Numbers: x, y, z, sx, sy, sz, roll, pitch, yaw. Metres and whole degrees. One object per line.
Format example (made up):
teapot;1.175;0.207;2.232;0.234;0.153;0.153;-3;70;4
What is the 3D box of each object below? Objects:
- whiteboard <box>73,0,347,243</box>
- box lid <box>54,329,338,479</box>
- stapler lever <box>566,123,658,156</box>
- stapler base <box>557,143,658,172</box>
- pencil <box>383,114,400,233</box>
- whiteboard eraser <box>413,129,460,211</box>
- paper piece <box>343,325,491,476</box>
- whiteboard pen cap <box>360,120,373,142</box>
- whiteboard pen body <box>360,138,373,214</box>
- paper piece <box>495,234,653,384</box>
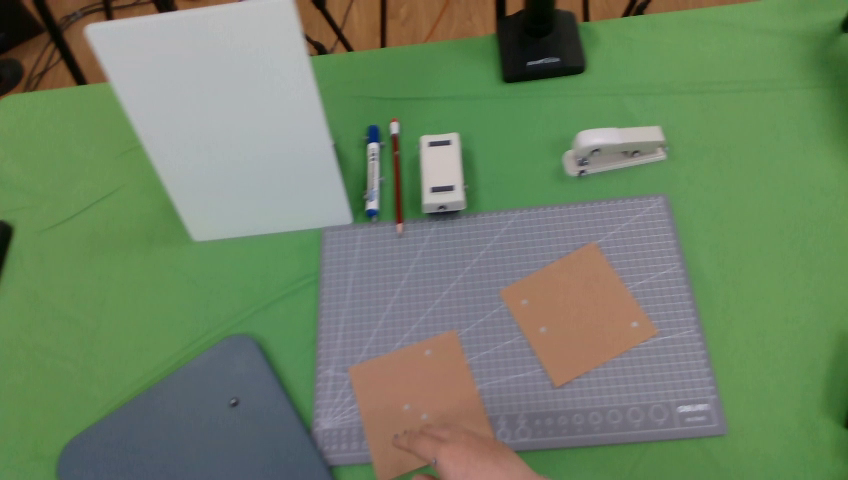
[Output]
whiteboard;-0.227;-0.164;0.750;0.217;0.308;0.142;-6;44;4
box lid;-0.226;0.297;0.653;0.263;0.015;0.368;-34;65;-10
stapler lever;0.242;-0.133;0.779;0.118;0.040;0.026;-11;65;0
stapler base;0.243;-0.121;0.800;0.130;0.024;0.041;-10;66;-1
pencil;-0.043;-0.093;0.825;0.012;0.012;0.192;-8;63;3
whiteboard eraser;0.015;-0.092;0.801;0.055;0.042;0.111;-7;64;5
paper piece;-0.011;0.178;0.686;0.135;0.004;0.134;-19;64;-4
whiteboard pen cap;-0.080;-0.151;0.853;0.018;0.018;0.033;-7;62;3
whiteboard pen body;-0.079;-0.099;0.828;0.017;0.017;0.139;-5;63;4
paper piece;0.174;0.078;0.715;0.136;0.009;0.137;-28;66;-3
